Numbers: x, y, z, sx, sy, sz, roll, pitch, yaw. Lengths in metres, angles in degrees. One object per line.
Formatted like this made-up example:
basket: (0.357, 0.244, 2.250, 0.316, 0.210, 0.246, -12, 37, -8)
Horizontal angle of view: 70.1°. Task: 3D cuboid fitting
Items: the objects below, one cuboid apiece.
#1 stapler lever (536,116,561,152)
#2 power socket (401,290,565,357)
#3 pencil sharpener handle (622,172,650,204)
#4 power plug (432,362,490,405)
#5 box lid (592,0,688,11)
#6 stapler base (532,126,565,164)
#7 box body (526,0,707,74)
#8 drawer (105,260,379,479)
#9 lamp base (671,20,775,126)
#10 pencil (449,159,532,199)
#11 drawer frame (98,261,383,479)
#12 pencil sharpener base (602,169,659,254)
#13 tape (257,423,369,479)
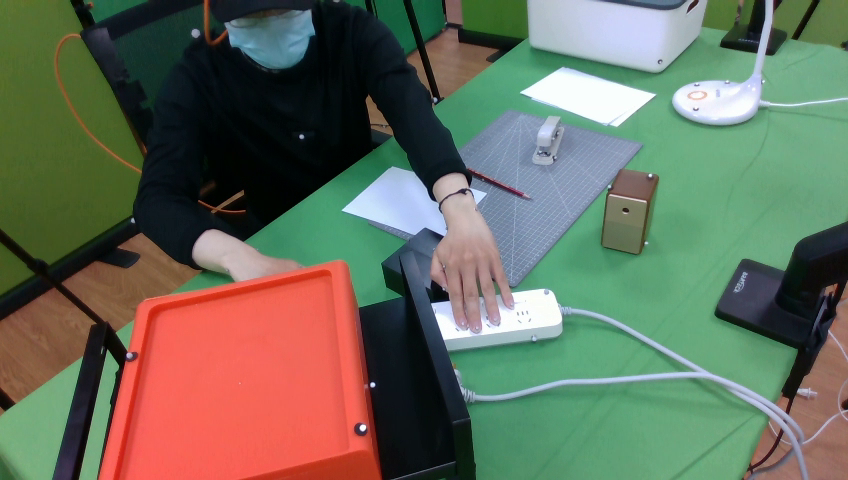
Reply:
stapler lever: (0.236, -0.209, 1.141, 0.026, 0.040, 0.118, 10, 43, 18)
power socket: (0.080, 0.113, 0.822, 0.227, 0.033, 0.072, -7, 41, 0)
pencil sharpener handle: (0.328, -0.086, 0.940, 0.036, 0.068, 0.030, 30, 49, 8)
power plug: (0.044, 0.183, 0.760, 0.073, 0.035, 0.052, 27, 37, -20)
box lid: (0.441, -0.596, 1.383, 0.368, 0.015, 0.264, 24, 49, 31)
stapler base: (0.238, -0.189, 1.155, 0.041, 0.024, 0.130, 10, 42, 18)
box body: (0.450, -0.540, 1.430, 0.361, 0.161, 0.255, 24, 50, 31)
drawer: (-0.150, 0.127, 0.525, 0.195, 0.073, 0.210, -11, 41, -5)
lamp base: (0.582, -0.332, 1.153, 0.179, 0.181, 0.160, 2, 41, 7)
pencil: (0.117, -0.110, 1.090, 0.192, 0.012, 0.012, 30, 53, 35)
drawer frame: (-0.148, 0.129, 0.520, 0.202, 0.083, 0.212, -12, 41, -6)
pencil sharpener base: (0.312, -0.044, 0.913, 0.061, 0.107, 0.077, 14, 45, 24)
tape: (-0.121, 0.262, 0.660, 0.117, 0.053, 0.116, -4, 40, 4)
